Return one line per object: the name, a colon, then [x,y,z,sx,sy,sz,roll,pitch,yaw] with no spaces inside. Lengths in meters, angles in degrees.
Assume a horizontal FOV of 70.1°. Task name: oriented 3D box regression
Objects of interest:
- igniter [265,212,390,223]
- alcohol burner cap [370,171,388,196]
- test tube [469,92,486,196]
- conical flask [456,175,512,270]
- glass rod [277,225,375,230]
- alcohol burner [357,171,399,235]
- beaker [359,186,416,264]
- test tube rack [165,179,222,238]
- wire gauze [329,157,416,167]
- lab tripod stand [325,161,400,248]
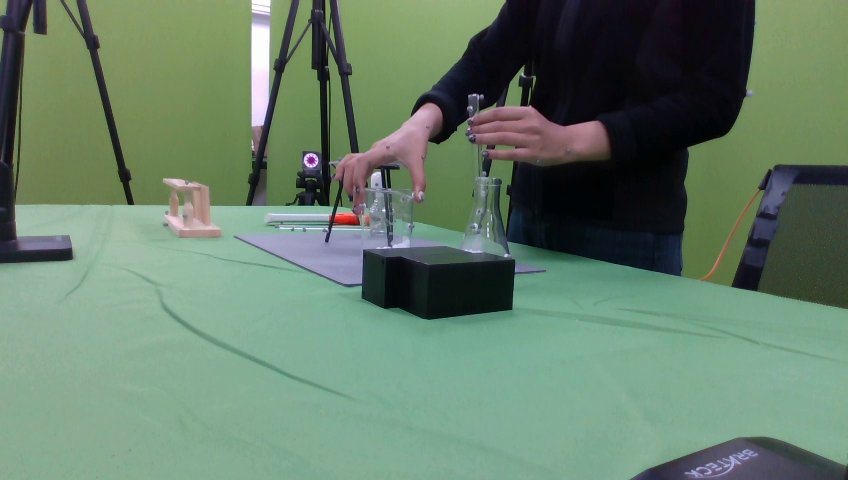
igniter: [-0.196,-0.048,1.286,0.278,0.025,0.057,-2,-2,-30]
alcohol burner cap: [-0.085,-0.104,1.120,0.034,0.048,0.034,-4,8,1]
test tube: [0.077,-0.138,0.874,0.017,0.150,0.017,-4,7,1]
conical flask: [0.082,-0.025,0.801,0.075,0.122,0.075,2,7,0]
glass rod: [-0.187,-0.024,1.178,0.201,0.008,0.008,1,6,-31]
alcohol burner: [-0.085,-0.069,1.125,0.078,0.119,0.078,3,10,0]
beaker: [-0.048,-0.020,0.817,0.083,0.100,0.074,9,10,41]
test tube rack: [-0.423,-0.062,1.098,0.067,0.085,0.241,-2,9,-28]
wire gauze: [-0.079,-0.126,0.972,0.121,0.011,0.125,4,8,5]
lab tripod stand: [-0.083,-0.060,0.977,0.148,0.131,0.148,4,8,0]
